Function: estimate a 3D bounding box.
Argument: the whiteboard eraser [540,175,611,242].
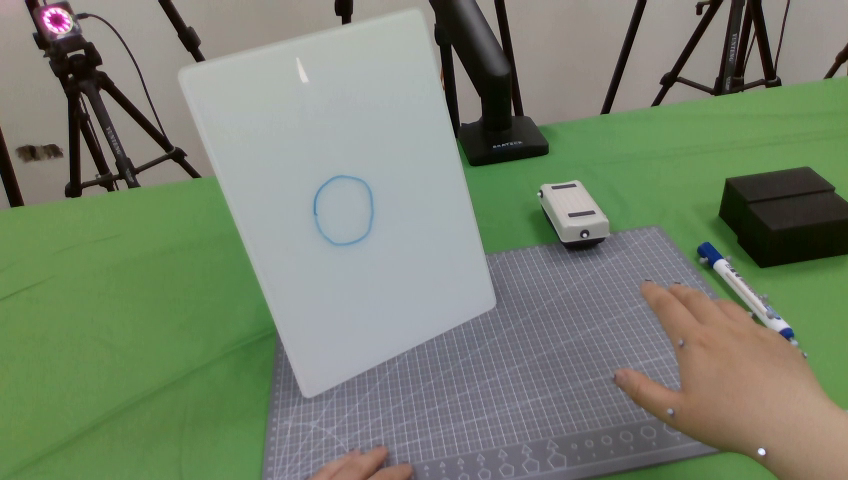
[{"bbox_3d":[0.178,-0.038,0.722,0.055,0.042,0.111,-10,32,0],"label":"whiteboard eraser"}]

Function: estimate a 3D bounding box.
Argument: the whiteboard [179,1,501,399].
[{"bbox_3d":[-0.081,-0.045,0.602,0.217,0.307,0.142,-23,20,-19],"label":"whiteboard"}]

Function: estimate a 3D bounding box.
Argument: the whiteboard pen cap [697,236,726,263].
[{"bbox_3d":[0.311,0.011,0.654,0.018,0.018,0.033,-11,35,-5],"label":"whiteboard pen cap"}]

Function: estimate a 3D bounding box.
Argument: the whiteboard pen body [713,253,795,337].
[{"bbox_3d":[0.322,0.045,0.608,0.017,0.017,0.139,-10,36,-4],"label":"whiteboard pen body"}]
